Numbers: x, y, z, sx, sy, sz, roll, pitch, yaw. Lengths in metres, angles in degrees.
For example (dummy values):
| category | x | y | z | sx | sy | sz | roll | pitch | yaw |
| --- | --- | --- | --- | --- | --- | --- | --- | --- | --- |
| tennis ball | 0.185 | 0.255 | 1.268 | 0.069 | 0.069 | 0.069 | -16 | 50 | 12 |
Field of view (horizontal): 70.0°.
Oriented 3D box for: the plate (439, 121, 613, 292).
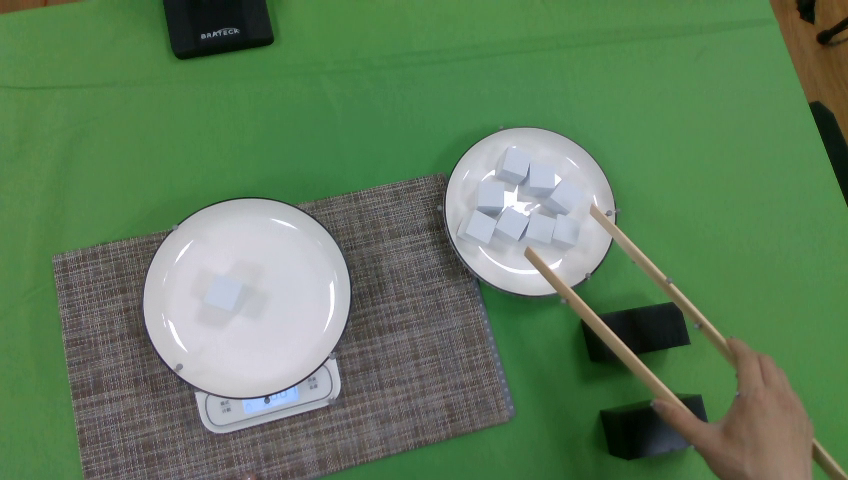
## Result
| category | x | y | z | sx | sy | sz | roll | pitch | yaw |
| --- | --- | --- | --- | --- | --- | --- | --- | --- | --- |
| plate | 0.119 | -0.038 | 0.723 | 0.208 | 0.039 | 0.206 | 1 | 78 | -6 |

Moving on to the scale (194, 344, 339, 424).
| category | x | y | z | sx | sy | sz | roll | pitch | yaw |
| --- | --- | --- | --- | --- | --- | --- | --- | --- | --- |
| scale | -0.184 | 0.087 | 0.661 | 0.149 | 0.031 | 0.200 | -13 | 80 | -9 |

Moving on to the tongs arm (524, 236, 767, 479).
| category | x | y | z | sx | sy | sz | roll | pitch | yaw |
| --- | --- | --- | --- | --- | --- | --- | --- | --- | --- |
| tongs arm | 0.233 | 0.131 | 0.586 | 0.028 | 0.028 | 0.384 | -35 | 67 | -19 |

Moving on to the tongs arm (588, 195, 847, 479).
| category | x | y | z | sx | sy | sz | roll | pitch | yaw |
| --- | --- | --- | --- | --- | --- | --- | --- | --- | --- |
| tongs arm | 0.275 | 0.104 | 0.598 | 0.051 | 0.027 | 0.381 | -32 | 67 | -14 |

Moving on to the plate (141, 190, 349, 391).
| category | x | y | z | sx | sy | sz | roll | pitch | yaw |
| --- | --- | --- | --- | --- | --- | --- | --- | --- | --- |
| plate | -0.182 | 0.051 | 0.634 | 0.209 | 0.038 | 0.208 | 2 | 78 | -7 |
